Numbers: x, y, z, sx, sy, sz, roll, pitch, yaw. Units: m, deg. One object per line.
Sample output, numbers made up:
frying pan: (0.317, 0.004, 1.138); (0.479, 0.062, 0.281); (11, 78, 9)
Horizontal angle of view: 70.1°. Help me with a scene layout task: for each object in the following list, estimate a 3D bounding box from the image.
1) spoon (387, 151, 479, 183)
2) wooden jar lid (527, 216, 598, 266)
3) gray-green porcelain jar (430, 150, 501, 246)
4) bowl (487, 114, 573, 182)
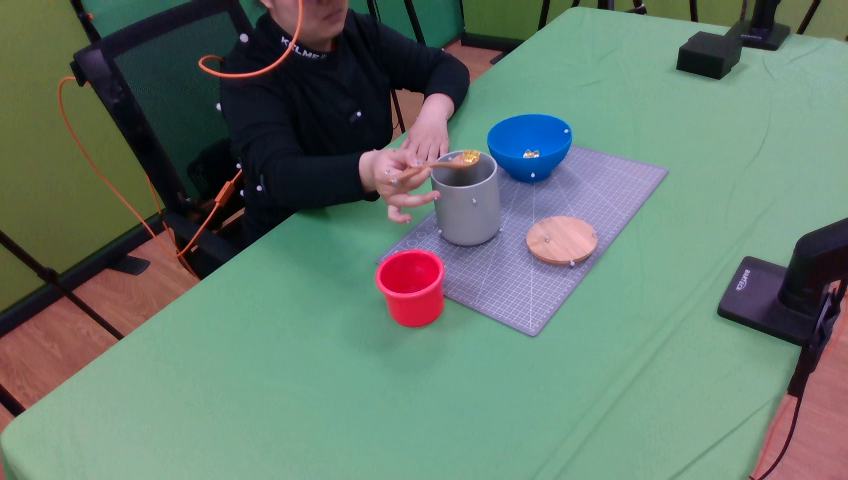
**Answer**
spoon: (0.014, -0.106, 0.865); (0.041, 0.021, 0.195); (22, 26, 36)
wooden jar lid: (0.214, 0.003, 0.937); (0.108, 0.021, 0.108); (-4, 40, 4)
gray-green porcelain jar: (0.069, -0.062, 0.959); (0.106, 0.127, 0.105); (-5, 40, 5)
bowl: (0.190, -0.156, 1.085); (0.151, 0.077, 0.150); (-5, 40, 5)
